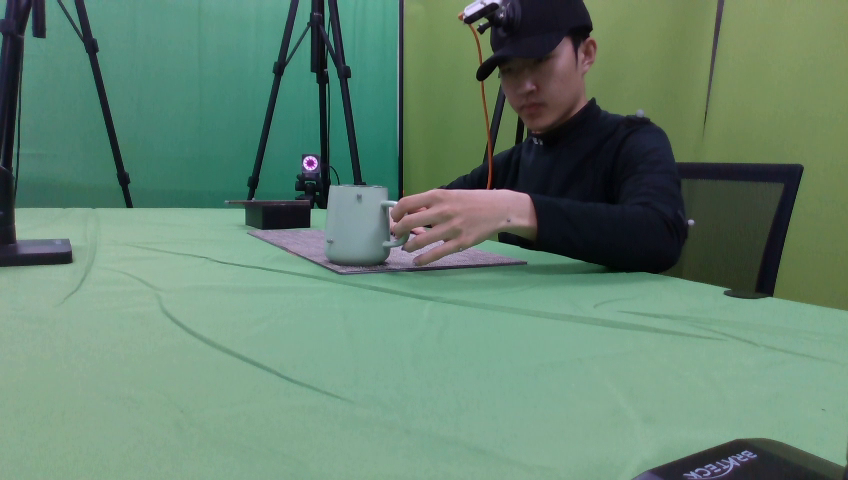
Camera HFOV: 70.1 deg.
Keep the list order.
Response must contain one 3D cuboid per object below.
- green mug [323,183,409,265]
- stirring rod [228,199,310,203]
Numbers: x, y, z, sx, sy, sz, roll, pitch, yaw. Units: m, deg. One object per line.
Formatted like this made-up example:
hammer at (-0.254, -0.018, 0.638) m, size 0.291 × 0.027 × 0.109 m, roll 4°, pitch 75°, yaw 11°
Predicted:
green mug at (-0.076, -0.022, 0.816) m, size 0.125 × 0.105 × 0.093 m, roll 5°, pitch 8°, yaw 26°
stirring rod at (-0.314, -0.080, 1.239) m, size 0.177 × 0.006 × 0.014 m, roll -4°, pitch 9°, yaw -40°
